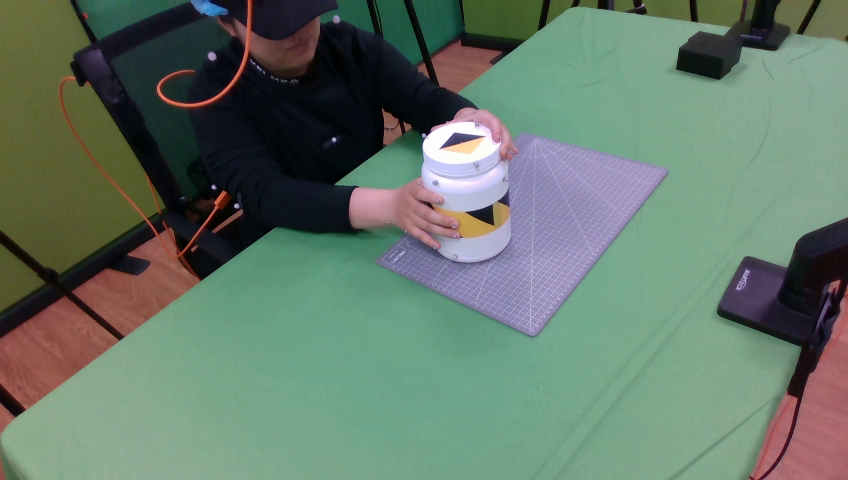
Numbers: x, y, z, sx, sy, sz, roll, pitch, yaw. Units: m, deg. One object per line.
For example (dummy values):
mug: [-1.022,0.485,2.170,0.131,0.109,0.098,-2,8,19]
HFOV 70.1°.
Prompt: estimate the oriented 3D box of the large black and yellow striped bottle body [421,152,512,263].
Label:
large black and yellow striped bottle body: [0.066,-0.071,0.925,0.131,0.185,0.130,-5,40,5]

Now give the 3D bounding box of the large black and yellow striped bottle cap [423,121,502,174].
large black and yellow striped bottle cap: [0.056,-0.136,0.871,0.115,0.019,0.114,-5,42,5]
